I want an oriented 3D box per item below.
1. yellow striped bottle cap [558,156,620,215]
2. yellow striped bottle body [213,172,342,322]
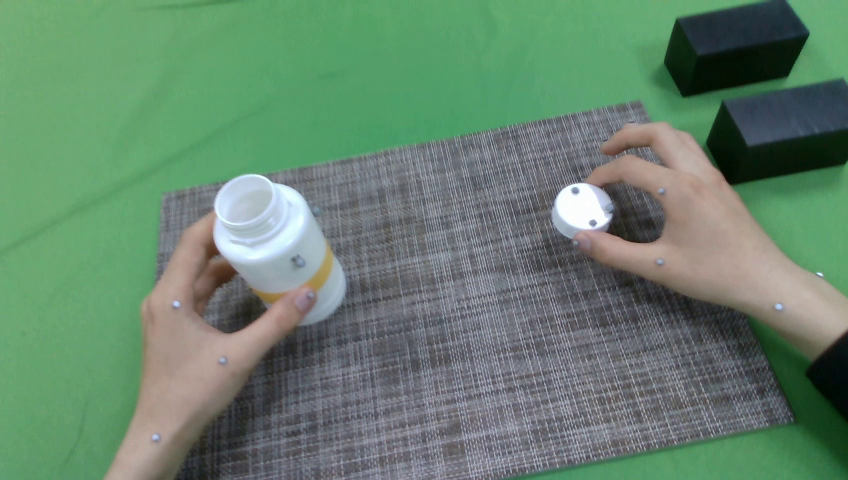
[{"bbox_3d":[0.121,-0.040,0.448,0.044,0.019,0.044,-5,53,7],"label":"yellow striped bottle cap"},{"bbox_3d":[-0.101,0.004,0.416,0.063,0.121,0.062,-4,58,7],"label":"yellow striped bottle body"}]
